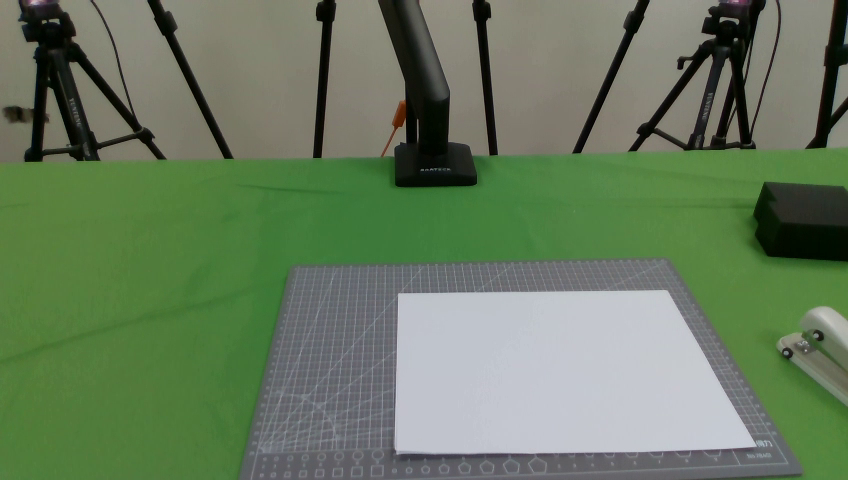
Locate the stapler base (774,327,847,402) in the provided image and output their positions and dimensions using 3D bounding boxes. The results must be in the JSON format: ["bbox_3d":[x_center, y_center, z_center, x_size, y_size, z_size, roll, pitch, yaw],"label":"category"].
[{"bbox_3d":[0.390,0.121,0.562,0.041,0.024,0.129,-15,39,-17],"label":"stapler base"}]

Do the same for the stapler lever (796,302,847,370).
[{"bbox_3d":[0.392,0.102,0.547,0.027,0.040,0.116,-15,38,-17],"label":"stapler lever"}]
